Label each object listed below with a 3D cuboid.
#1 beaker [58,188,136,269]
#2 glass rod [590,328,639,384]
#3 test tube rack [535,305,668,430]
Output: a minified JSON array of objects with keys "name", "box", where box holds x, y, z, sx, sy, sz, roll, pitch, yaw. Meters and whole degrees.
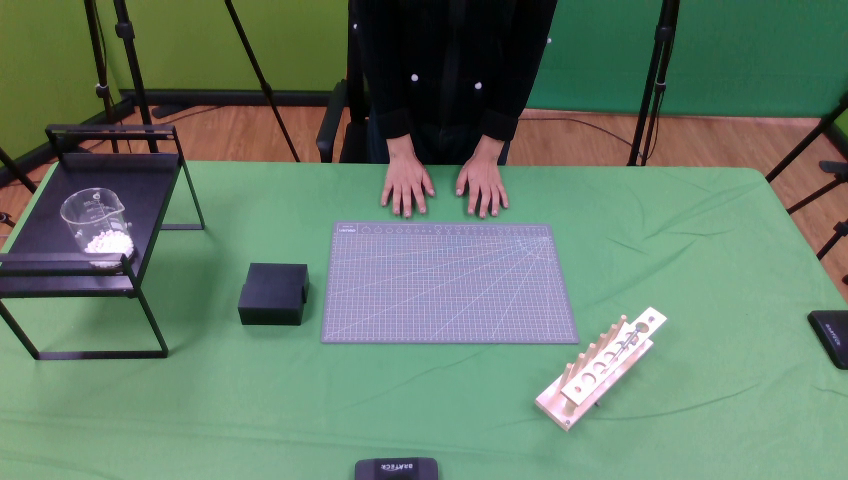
[{"name":"beaker","box":[-0.462,-0.014,0.871,0.084,0.101,0.073,-1,47,-5]},{"name":"glass rod","box":[0.279,0.182,0.902,0.008,0.200,0.008,5,52,-6]},{"name":"test tube rack","box":[0.290,0.193,0.984,0.242,0.085,0.066,-32,56,-30]}]
